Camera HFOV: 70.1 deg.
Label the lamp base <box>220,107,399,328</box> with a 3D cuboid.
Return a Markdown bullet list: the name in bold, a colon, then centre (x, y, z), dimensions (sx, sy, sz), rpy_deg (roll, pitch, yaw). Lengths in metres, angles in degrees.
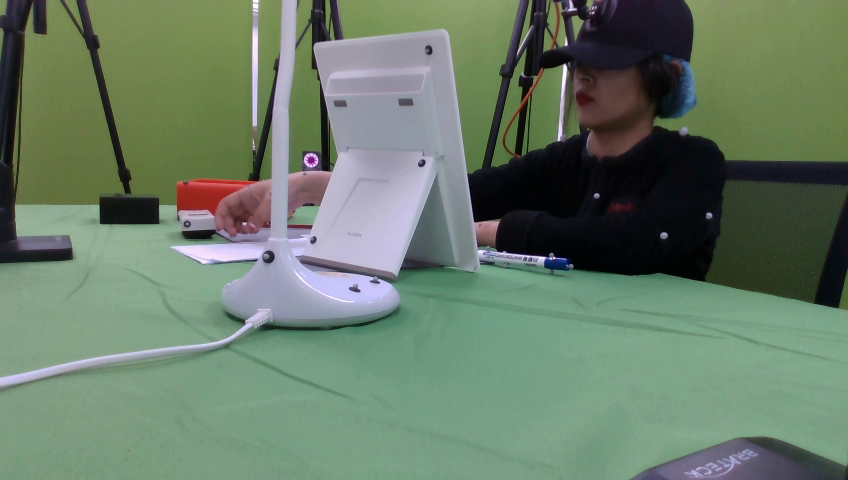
- **lamp base**: centre (-0.101, -0.023, 0.531), dimensions (0.160, 0.180, 0.179), rpy_deg (4, 10, 10)

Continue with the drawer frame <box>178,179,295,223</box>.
- **drawer frame**: centre (-0.397, -0.088, 1.315), dimensions (0.214, 0.082, 0.201), rpy_deg (1, 8, -8)

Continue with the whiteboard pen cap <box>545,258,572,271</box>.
- **whiteboard pen cap**: centre (0.175, 0.032, 0.790), dimensions (0.033, 0.018, 0.018), rpy_deg (4, 7, 37)

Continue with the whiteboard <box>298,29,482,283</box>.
- **whiteboard**: centre (-0.075, -0.082, 0.742), dimensions (0.216, 0.305, 0.144), rpy_deg (9, 29, 37)

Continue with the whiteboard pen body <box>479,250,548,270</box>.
- **whiteboard pen body**: centre (0.130, 0.028, 0.827), dimensions (0.140, 0.017, 0.017), rpy_deg (7, 8, 38)

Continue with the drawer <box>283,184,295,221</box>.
- **drawer**: centre (-0.394, -0.086, 1.317), dimensions (0.212, 0.073, 0.194), rpy_deg (1, 8, -7)

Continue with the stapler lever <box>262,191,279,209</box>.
- **stapler lever**: centre (-0.329, -0.086, 1.306), dimensions (0.027, 0.040, 0.118), rpy_deg (9, 3, -9)

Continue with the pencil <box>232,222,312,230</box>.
- **pencil**: centre (-0.261, -0.025, 1.141), dimensions (0.195, 0.012, 0.012), rpy_deg (2, 7, -26)

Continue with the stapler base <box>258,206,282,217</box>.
- **stapler base**: centre (-0.331, -0.065, 1.305), dimensions (0.041, 0.024, 0.130), rpy_deg (9, -2, -9)

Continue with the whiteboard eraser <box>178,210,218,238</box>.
- **whiteboard eraser**: centre (-0.380, -0.027, 1.014), dimensions (0.056, 0.042, 0.112), rpy_deg (0, 8, -25)
